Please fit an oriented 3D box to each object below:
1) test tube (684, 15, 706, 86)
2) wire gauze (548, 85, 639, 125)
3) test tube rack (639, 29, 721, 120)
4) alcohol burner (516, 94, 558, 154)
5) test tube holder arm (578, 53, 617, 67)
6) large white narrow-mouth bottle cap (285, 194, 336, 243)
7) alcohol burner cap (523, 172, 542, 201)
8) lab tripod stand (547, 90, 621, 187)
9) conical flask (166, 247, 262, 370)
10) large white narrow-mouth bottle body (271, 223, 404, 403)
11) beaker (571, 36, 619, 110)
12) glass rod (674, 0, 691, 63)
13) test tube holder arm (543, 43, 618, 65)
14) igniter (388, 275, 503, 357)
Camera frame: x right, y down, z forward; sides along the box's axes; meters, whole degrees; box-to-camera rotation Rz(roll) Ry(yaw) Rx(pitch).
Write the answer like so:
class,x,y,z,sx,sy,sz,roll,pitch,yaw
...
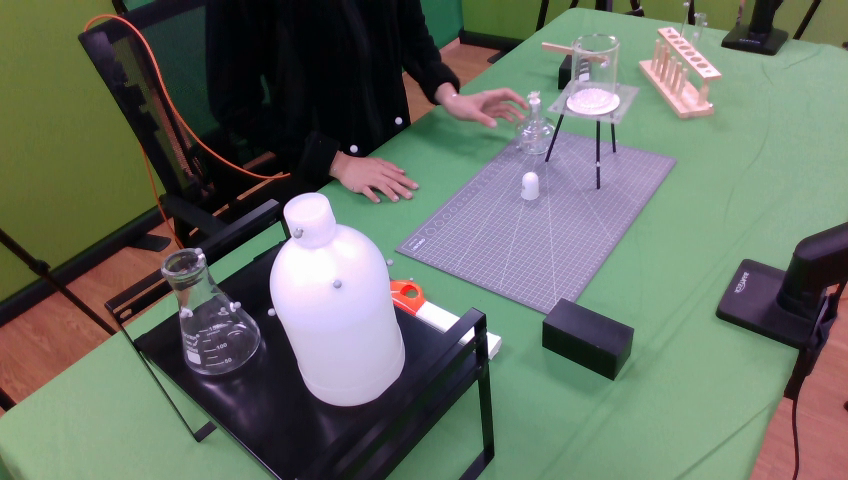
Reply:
class,x,y,z,sx,sy,sz,roll,pitch,yaw
test tube,0.541,-0.378,1.216,0.017,0.151,0.017,-2,44,3
wire gauze,0.286,-0.233,1.020,0.124,0.011,0.122,15,43,30
test tube rack,0.527,-0.351,1.262,0.067,0.085,0.241,-8,40,1
alcohol burner,0.212,-0.222,1.134,0.078,0.119,0.077,-5,43,5
test tube holder arm,0.376,-0.393,1.314,0.087,0.015,0.010,26,51,32
large white narrow-mouth bottle cap,-0.087,-0.017,0.468,0.038,0.024,0.037,-5,40,4
alcohol burner cap,0.186,-0.096,1.047,0.034,0.048,0.033,-6,37,5
lab tripod stand,0.289,-0.184,1.062,0.148,0.132,0.147,-6,41,6
conical flask,-0.209,0.063,0.584,0.075,0.122,0.075,-5,40,4
large white narrow-mouth bottle body,-0.077,0.048,0.525,0.102,0.195,0.101,-5,40,5
beaker,0.281,-0.273,0.992,0.084,0.101,0.073,-24,42,-16
glass rod,0.537,-0.437,1.257,0.008,0.200,0.008,0,39,1
test tube holder arm,0.344,-0.413,1.340,0.177,0.015,0.013,25,51,31
igniter,-0.008,0.093,0.870,0.274,0.025,0.057,24,60,33
